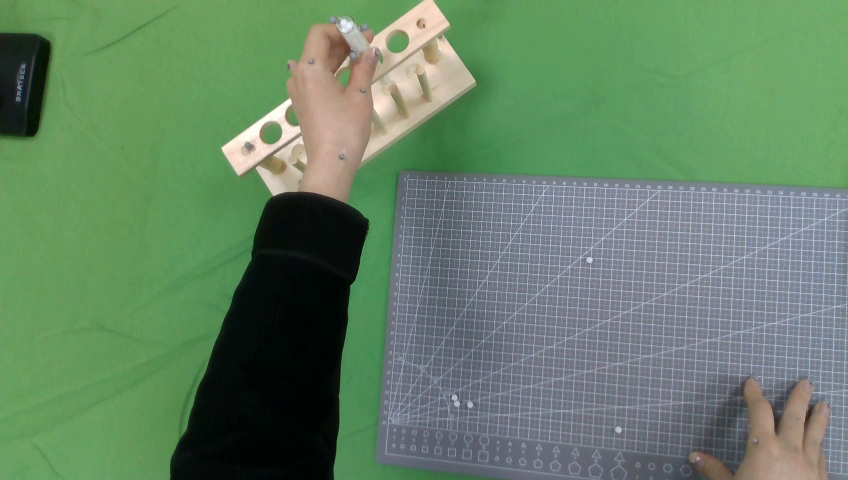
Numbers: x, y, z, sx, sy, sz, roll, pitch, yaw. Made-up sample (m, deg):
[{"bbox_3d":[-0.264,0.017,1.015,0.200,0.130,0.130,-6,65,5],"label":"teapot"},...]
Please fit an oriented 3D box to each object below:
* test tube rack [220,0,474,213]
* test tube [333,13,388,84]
[{"bbox_3d":[-0.072,-0.126,0.602,0.242,0.085,0.066,-34,81,5],"label":"test tube rack"},{"bbox_3d":[-0.053,-0.166,0.540,0.017,0.150,0.017,0,88,8],"label":"test tube"}]
